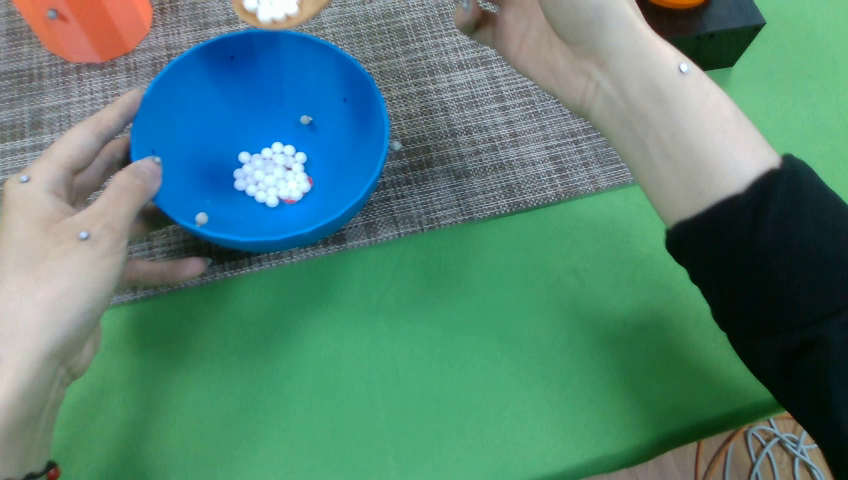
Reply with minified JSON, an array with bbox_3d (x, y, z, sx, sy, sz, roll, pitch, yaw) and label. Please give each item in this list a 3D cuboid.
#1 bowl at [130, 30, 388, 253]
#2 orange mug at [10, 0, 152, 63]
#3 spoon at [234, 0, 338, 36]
[{"bbox_3d":[-0.098,-0.051,0.393,0.151,0.077,0.150,2,66,-4],"label":"bowl"},{"bbox_3d":[-0.256,-0.208,0.437,0.083,0.101,0.125,-2,71,-5],"label":"orange mug"},{"bbox_3d":[-0.014,-0.159,0.334,0.194,0.022,0.041,-22,68,7],"label":"spoon"}]
